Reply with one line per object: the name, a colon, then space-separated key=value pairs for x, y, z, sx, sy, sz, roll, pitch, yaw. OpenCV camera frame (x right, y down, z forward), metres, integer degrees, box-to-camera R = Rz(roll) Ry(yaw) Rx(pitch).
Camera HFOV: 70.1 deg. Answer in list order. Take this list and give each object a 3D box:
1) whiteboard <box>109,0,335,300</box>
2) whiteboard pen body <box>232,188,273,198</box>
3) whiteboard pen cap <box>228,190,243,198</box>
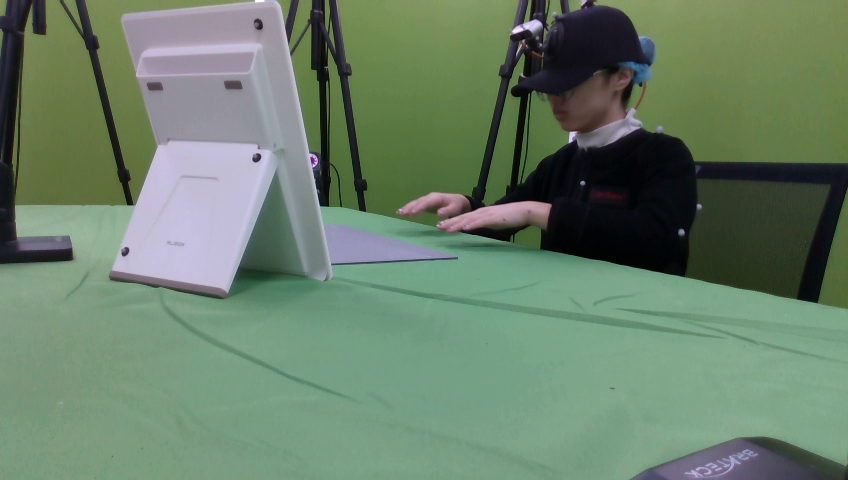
whiteboard: x=-0.247 y=-0.072 z=0.624 sx=0.216 sy=0.305 sz=0.144 roll=6 pitch=28 yaw=26
whiteboard pen body: x=-0.370 y=-0.101 z=1.303 sx=0.017 sy=0.017 sz=0.141 roll=4 pitch=9 yaw=18
whiteboard pen cap: x=-0.388 y=-0.096 z=1.248 sx=0.018 sy=0.018 sz=0.033 roll=4 pitch=8 yaw=18
